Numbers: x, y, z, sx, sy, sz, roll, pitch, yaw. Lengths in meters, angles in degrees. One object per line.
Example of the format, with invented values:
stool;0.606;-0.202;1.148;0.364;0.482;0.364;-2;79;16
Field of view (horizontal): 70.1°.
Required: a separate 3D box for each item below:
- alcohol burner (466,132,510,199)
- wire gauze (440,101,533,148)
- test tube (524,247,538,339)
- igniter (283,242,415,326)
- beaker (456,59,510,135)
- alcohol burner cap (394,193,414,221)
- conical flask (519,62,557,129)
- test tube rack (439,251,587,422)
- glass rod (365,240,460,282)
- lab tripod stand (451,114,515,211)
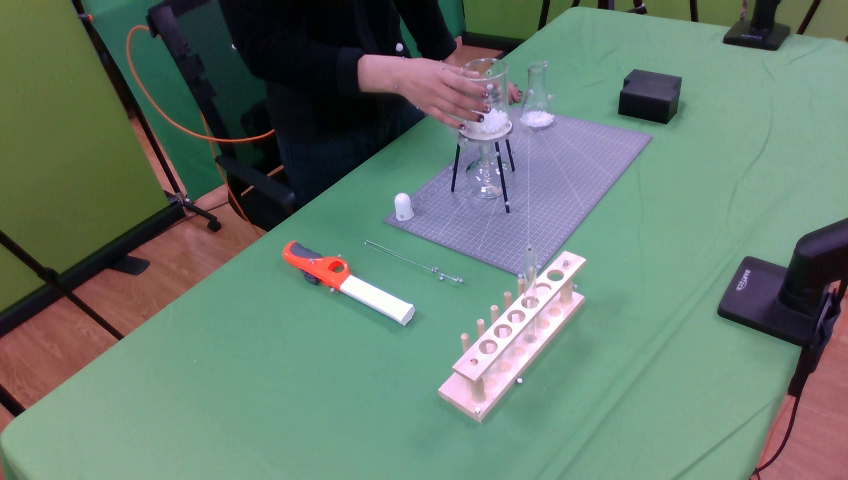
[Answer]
alcohol burner;0.110;-0.132;1.044;0.078;0.119;0.077;-5;38;5
wire gauze;0.100;-0.189;0.995;0.125;0.011;0.120;-16;38;-6
test tube;0.133;0.070;0.749;0.017;0.151;0.017;-5;38;4
igniter;-0.126;0.062;0.931;0.274;0.025;0.057;23;61;33
beaker;0.097;-0.226;0.964;0.084;0.101;0.073;-8;39;4
alcohol burner cap;-0.036;-0.059;1.040;0.034;0.048;0.033;-5;41;5
conical flask;0.225;-0.287;1.198;0.075;0.122;0.075;-6;40;5
test tube rack;0.118;0.111;0.780;0.066;0.085;0.243;26;51;34
glass rod;-0.022;0.032;0.961;0.198;0.008;0.008;21;49;35
lab tripod stand;0.113;-0.140;1.037;0.148;0.132;0.147;-6;38;5
